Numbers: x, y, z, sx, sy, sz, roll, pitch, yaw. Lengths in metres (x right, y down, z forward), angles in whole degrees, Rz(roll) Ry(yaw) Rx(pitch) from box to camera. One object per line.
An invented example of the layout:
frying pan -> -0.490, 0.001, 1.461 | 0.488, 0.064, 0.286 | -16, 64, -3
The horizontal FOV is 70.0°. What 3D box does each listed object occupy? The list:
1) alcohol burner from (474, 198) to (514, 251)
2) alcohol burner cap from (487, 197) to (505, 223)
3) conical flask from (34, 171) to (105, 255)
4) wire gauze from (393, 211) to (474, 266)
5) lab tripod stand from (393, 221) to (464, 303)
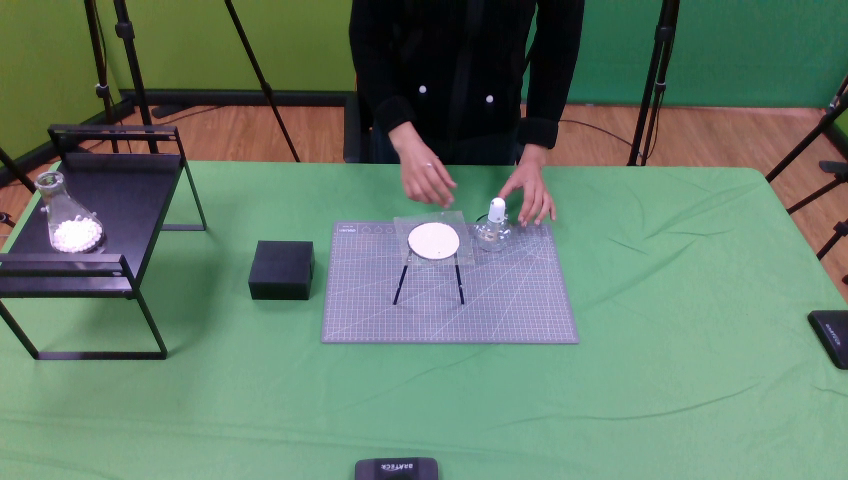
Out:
alcohol burner -> 0.137, -0.035, 1.176 | 0.078, 0.120, 0.077 | 1, 47, -1
alcohol burner cap -> 0.139, -0.060, 1.149 | 0.034, 0.048, 0.033 | 1, 43, -1
conical flask -> -0.522, -0.043, 0.879 | 0.075, 0.122, 0.075 | 2, 46, -2
wire gauze -> 0.015, -0.003, 1.028 | 0.125, 0.011, 0.120 | -4, 47, -7
lab tripod stand -> 0.009, 0.045, 1.075 | 0.148, 0.132, 0.147 | 2, 48, -2
